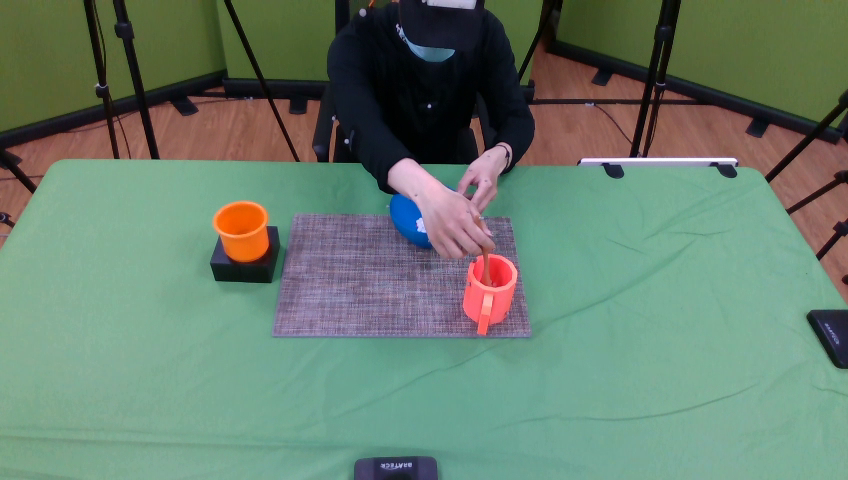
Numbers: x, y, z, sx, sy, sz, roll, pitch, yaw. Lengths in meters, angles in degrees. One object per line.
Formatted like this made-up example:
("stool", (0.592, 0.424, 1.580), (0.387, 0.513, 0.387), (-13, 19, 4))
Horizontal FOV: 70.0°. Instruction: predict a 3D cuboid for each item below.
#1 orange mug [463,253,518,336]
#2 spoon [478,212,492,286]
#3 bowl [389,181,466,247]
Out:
("orange mug", (0.112, 0.098, 1.049), (0.083, 0.101, 0.125), (9, 41, 5))
("spoon", (0.104, 0.033, 1.024), (0.041, 0.195, 0.021), (-33, 49, -31))
("bowl", (0.006, -0.039, 1.189), (0.151, 0.077, 0.150), (2, 46, -2))
